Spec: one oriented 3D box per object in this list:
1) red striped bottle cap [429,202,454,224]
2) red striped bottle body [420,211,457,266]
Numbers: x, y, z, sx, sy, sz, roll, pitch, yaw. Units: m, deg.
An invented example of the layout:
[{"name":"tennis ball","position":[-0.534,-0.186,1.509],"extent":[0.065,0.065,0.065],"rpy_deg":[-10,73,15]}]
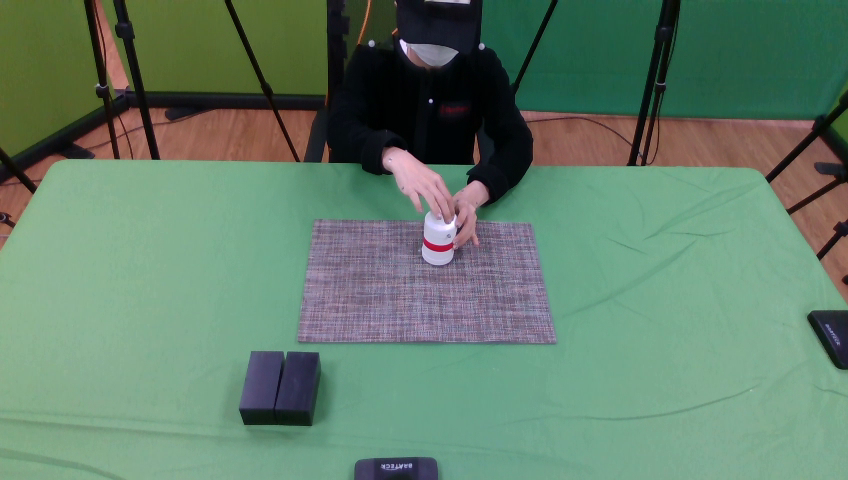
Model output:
[{"name":"red striped bottle cap","position":[0.032,-0.050,1.101],"extent":[0.044,0.018,0.044],"rpy_deg":[2,44,-1]},{"name":"red striped bottle body","position":[0.028,-0.012,1.139],"extent":[0.063,0.120,0.062],"rpy_deg":[3,44,-3]}]
